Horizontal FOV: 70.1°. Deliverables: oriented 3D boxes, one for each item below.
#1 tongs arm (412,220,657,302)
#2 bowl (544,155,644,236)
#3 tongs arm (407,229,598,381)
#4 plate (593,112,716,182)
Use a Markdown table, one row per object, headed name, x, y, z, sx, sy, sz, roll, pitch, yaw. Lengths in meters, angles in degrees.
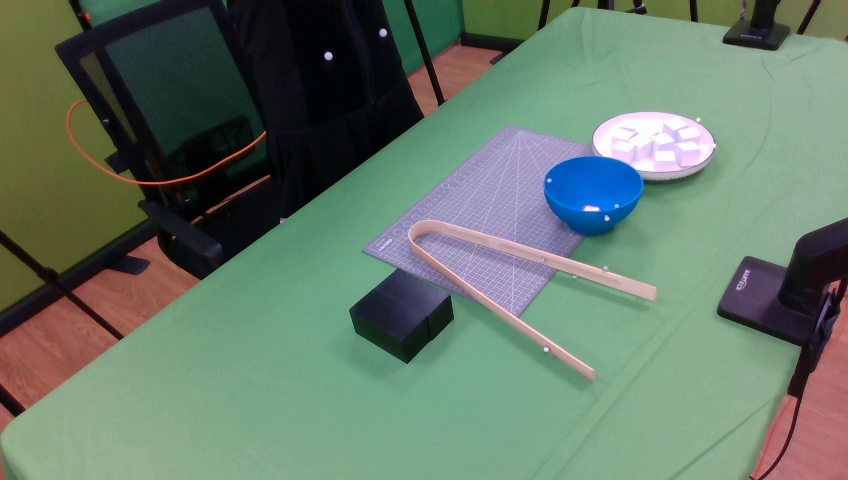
| name | x | y | z | sx | sy | sz | roll | pitch | yaw |
| --- | --- | --- | --- | --- | --- | --- | --- | --- | --- |
| tongs arm | 0.149 | 0.031 | 0.906 | 0.382 | 0.026 | 0.051 | 20 | 52 | 30 |
| bowl | 0.266 | -0.061 | 0.957 | 0.151 | 0.077 | 0.150 | -5 | 40 | 5 |
| tongs arm | 0.092 | 0.081 | 0.862 | 0.028 | 0.028 | 0.384 | -38 | 47 | -20 |
| plate | 0.408 | -0.163 | 1.084 | 0.207 | 0.039 | 0.206 | -4 | 40 | 4 |
